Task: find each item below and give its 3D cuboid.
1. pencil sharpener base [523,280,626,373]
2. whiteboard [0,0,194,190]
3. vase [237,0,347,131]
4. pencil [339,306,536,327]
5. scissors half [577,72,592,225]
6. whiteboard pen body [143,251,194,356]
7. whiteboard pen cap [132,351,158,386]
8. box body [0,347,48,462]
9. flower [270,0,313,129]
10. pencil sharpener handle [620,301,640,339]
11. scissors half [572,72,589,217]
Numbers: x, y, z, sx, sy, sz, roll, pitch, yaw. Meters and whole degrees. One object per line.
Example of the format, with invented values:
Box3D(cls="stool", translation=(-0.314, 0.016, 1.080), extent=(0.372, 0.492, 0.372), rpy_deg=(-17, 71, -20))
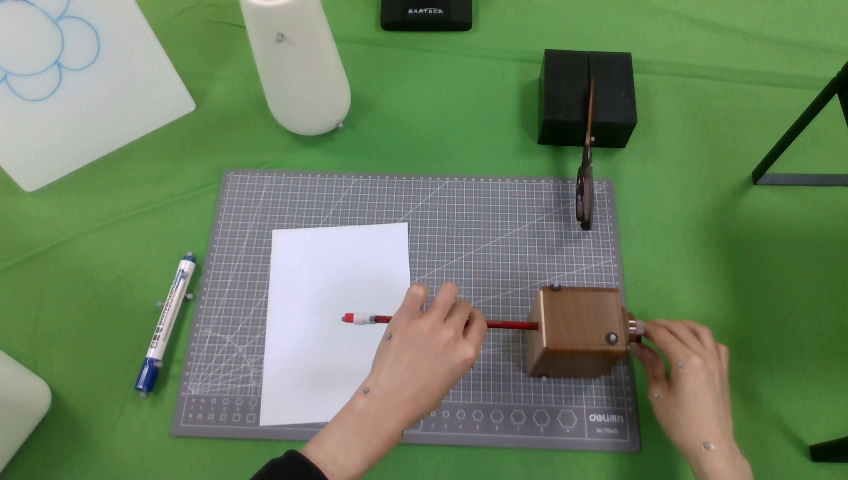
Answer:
Box3D(cls="pencil sharpener base", translation=(0.138, 0.084, 0.567), extent=(0.077, 0.108, 0.061), rpy_deg=(0, 65, 1))
Box3D(cls="whiteboard", translation=(-0.435, -0.249, 0.650), extent=(0.217, 0.309, 0.142), rpy_deg=(-31, 49, -12))
Box3D(cls="vase", translation=(-0.142, -0.207, 0.653), extent=(0.098, 0.201, 0.097), rpy_deg=(-1, 64, 2))
Box3D(cls="pencil", translation=(0.020, 0.070, 0.545), extent=(0.194, 0.012, 0.012), rpy_deg=(3, 65, 2))
Box3D(cls="scissors half", translation=(0.180, -0.102, 0.669), extent=(0.012, 0.040, 0.175), rpy_deg=(1, 84, 27))
Box3D(cls="whiteboard pen body", translation=(-0.267, 0.075, 0.626), extent=(0.017, 0.017, 0.140), rpy_deg=(8, 64, 5))
Box3D(cls="whiteboard pen cap", translation=(-0.275, 0.127, 0.601), extent=(0.018, 0.018, 0.033), rpy_deg=(7, 62, 4))
Box3D(cls="box body", translation=(-0.566, 0.134, 0.525), extent=(0.362, 0.161, 0.253), rpy_deg=(27, 69, 12))
Box3D(cls="flower", translation=(-0.151, -0.254, 0.583), extent=(0.044, 0.365, 0.038), rpy_deg=(-5, 48, 2))
Box3D(cls="pencil sharpener handle", translation=(0.188, 0.078, 0.556), extent=(0.030, 0.068, 0.035), rpy_deg=(0, 68, 1))
Box3D(cls="scissors half", translation=(0.172, -0.107, 0.651), extent=(0.013, 0.040, 0.174), rpy_deg=(2, 67, 22))
